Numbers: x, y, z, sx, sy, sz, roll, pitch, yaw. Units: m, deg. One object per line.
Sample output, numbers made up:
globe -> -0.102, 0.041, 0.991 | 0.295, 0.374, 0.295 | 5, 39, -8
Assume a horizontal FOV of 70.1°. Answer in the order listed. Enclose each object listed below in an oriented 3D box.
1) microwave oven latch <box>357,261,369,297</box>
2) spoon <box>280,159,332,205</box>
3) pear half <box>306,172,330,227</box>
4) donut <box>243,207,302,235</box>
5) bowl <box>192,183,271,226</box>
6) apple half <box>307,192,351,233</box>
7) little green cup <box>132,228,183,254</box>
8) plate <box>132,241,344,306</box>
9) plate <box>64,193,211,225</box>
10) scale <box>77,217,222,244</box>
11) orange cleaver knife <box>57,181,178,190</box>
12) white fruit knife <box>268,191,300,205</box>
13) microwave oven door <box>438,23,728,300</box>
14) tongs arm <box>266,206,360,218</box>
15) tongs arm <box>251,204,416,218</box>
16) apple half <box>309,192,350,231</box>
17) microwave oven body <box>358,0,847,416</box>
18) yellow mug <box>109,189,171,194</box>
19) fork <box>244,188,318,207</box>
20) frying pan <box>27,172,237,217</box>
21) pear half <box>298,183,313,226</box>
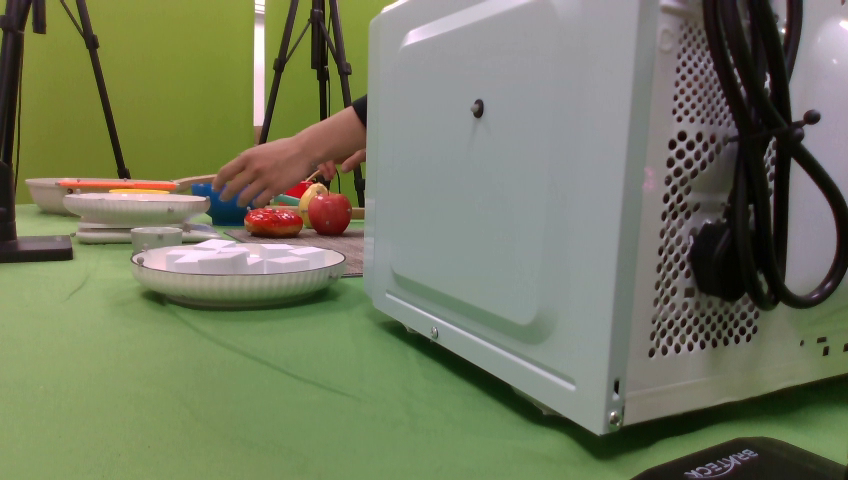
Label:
microwave oven latch -> -0.019, 0.033, 0.530 | 0.079, 0.029, 0.030 | -1, 7, -26
spoon -> -0.317, -0.158, 1.640 | 0.194, 0.022, 0.041 | -50, 32, -20
pear half -> -0.200, -0.079, 1.203 | 0.056, 0.110, 0.076 | 2, 11, 2
donut -> -0.261, -0.032, 1.044 | 0.099, 0.048, 0.099 | 4, 9, 0
bowl -> -0.382, -0.071, 1.202 | 0.151, 0.077, 0.151 | 3, 7, 0
apple half -> -0.174, -0.049, 1.087 | 0.081, 0.074, 0.053 | 5, 11, 2
little green cup -> -0.342, 0.006, 0.779 | 0.061, 0.038, 0.061 | 2, 8, 0
plate -> -0.187, 0.033, 0.625 | 0.208, 0.039, 0.207 | 2, 7, 0
plate -> -0.446, -0.050, 0.952 | 0.209, 0.038, 0.209 | 2, 7, 0
scale -> -0.434, -0.019, 0.963 | 0.202, 0.031, 0.148 | -1, 8, -27
orange cleaver knife -> -0.600, -0.109, 1.189 | 0.212, 0.012, 0.077 | -1, 11, -26
white fruit knife -> -0.364, -0.105, 1.464 | 0.208, 0.027, 0.016 | 15, -1, -34
microwave oven door -> 0.181, -0.073, 0.621 | 0.358, 0.243, 0.039 | -2, 8, -29
tongs arm -> -0.173, -0.061, 1.362 | 0.387, 0.026, 0.050 | -1, 3, -31
tongs arm -> -0.210, -0.068, 1.439 | 0.389, 0.027, 0.028 | 0, -1, -16
apple half -> -0.173, -0.055, 1.126 | 0.081, 0.081, 0.033 | 2, 10, 2
microwave oven body -> 0.211, -0.047, 0.474 | 0.444, 0.260, 0.324 | -1, 7, -28
yellow mug -> -0.519, -0.055, 1.081 | 0.099, 0.064, 0.131 | 7, 10, 26
fork -> -0.356, -0.105, 1.526 | 0.208, 0.018, 0.028 | 16, -5, -41
frying pan -> -0.624, -0.118, 1.387 | 0.305, 0.102, 0.490 | 8, 17, 32
pear half -> -0.235, -0.071, 1.207 | 0.031, 0.088, 0.070 | 3, 10, 0
